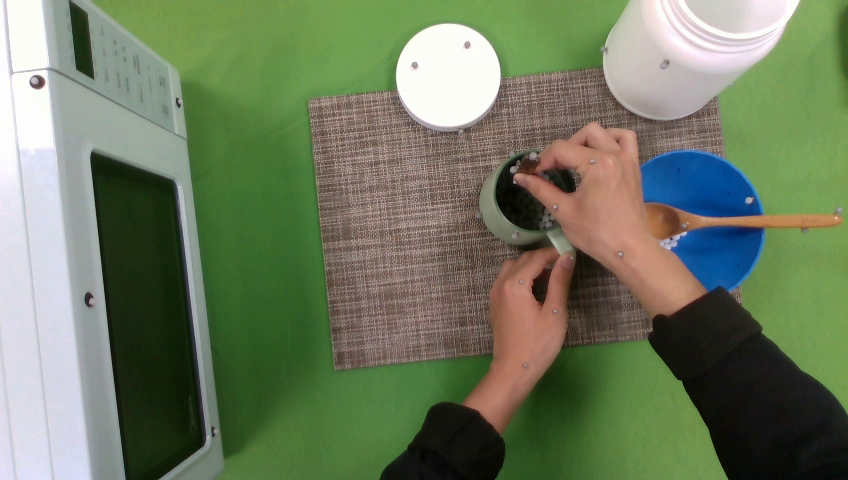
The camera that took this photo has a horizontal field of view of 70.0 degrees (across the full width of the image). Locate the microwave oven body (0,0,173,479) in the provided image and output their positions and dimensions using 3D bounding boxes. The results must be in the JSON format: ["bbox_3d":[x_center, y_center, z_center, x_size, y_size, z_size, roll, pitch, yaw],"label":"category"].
[{"bbox_3d":[-0.402,0.040,0.541,0.326,0.260,0.441,-8,89,0],"label":"microwave oven body"}]

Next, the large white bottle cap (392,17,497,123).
[{"bbox_3d":[0.022,-0.185,0.661,0.115,0.018,0.114,0,87,1],"label":"large white bottle cap"}]

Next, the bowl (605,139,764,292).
[{"bbox_3d":[0.255,-0.022,0.626,0.151,0.077,0.151,0,88,1],"label":"bowl"}]

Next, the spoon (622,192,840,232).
[{"bbox_3d":[0.297,-0.028,0.597,0.193,0.022,0.041,1,92,24],"label":"spoon"}]

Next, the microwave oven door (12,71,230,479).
[{"bbox_3d":[-0.251,0.061,0.534,0.039,0.244,0.355,-8,88,1],"label":"microwave oven door"}]

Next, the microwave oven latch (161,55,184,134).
[{"bbox_3d":[-0.276,-0.152,0.640,0.030,0.029,0.079,-9,89,0],"label":"microwave oven latch"}]

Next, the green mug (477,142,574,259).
[{"bbox_3d":[0.111,-0.036,0.614,0.092,0.105,0.125,-34,88,0],"label":"green mug"}]

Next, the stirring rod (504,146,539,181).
[{"bbox_3d":[0.089,-0.069,0.568,0.014,0.176,0.006,15,89,3],"label":"stirring rod"}]

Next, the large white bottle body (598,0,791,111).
[{"bbox_3d":[0.251,-0.212,0.577,0.130,0.185,0.130,0,84,1],"label":"large white bottle body"}]
